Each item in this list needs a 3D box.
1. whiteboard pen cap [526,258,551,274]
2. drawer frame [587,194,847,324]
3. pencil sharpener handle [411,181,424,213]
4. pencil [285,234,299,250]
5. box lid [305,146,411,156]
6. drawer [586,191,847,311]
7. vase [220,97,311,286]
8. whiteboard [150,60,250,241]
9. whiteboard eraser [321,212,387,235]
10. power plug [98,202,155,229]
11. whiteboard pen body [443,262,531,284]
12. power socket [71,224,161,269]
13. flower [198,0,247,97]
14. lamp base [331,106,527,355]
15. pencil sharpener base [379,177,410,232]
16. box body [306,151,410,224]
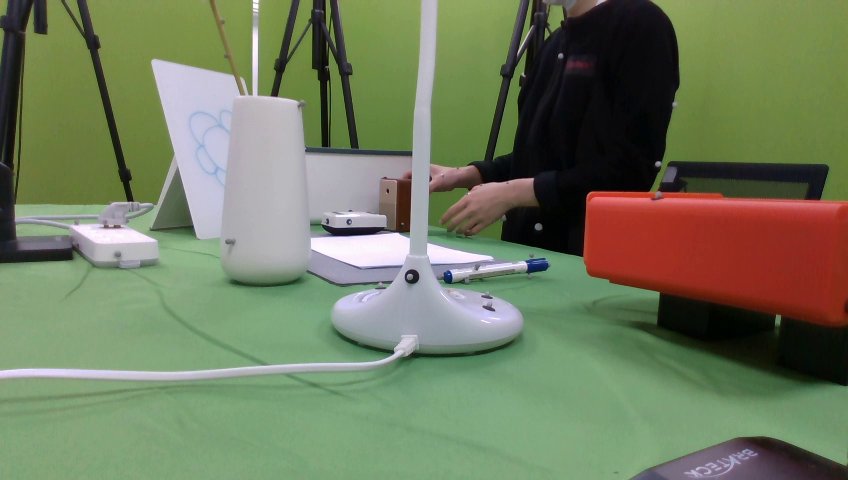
[{"bbox_3d":[0.141,0.033,0.759,0.033,0.018,0.018,-7,11,-26],"label":"whiteboard pen cap"},{"bbox_3d":[0.285,0.004,0.508,0.203,0.082,0.212,-1,6,-29],"label":"drawer frame"},{"bbox_3d":[-0.009,-0.089,1.260,0.031,0.067,0.036,-5,27,-42],"label":"pencil sharpener handle"},{"bbox_3d":[-0.209,0.000,0.969,0.012,0.012,0.193,1,6,-8],"label":"pencil"},{"bbox_3d":[-0.229,-0.200,1.360,0.373,0.015,0.262,-3,9,-33],"label":"box lid"},{"bbox_3d":[0.281,0.001,0.513,0.195,0.073,0.210,-1,8,-29],"label":"drawer"},{"bbox_3d":[-0.172,-0.052,0.662,0.098,0.200,0.098,3,9,0],"label":"vase"},{"bbox_3d":[-0.408,-0.139,1.093,0.143,0.305,0.218,-15,-1,26],"label":"whiteboard"},{"bbox_3d":[-0.128,-0.031,1.108,0.113,0.042,0.055,-3,7,-38],"label":"whiteboard eraser"},{"bbox_3d":[-0.416,-0.027,0.848,0.073,0.052,0.035,0,8,-28],"label":"power plug"},{"bbox_3d":[0.087,0.038,0.733,0.141,0.017,0.017,-5,10,-27],"label":"whiteboard pen body"},{"bbox_3d":[-0.408,0.004,0.793,0.072,0.032,0.225,-2,8,-38],"label":"power socket"},{"bbox_3d":[-0.187,-0.133,0.648,0.038,0.362,0.044,-1,22,43],"label":"flower"},{"bbox_3d":[0.006,-0.012,0.478,0.161,0.180,0.179,2,10,2],"label":"lamp base"},{"bbox_3d":[-0.045,-0.072,1.224,0.077,0.107,0.061,-5,9,-42],"label":"pencil sharpener base"},{"bbox_3d":[-0.230,-0.126,1.371,0.366,0.160,0.253,-2,8,-33],"label":"box body"}]
